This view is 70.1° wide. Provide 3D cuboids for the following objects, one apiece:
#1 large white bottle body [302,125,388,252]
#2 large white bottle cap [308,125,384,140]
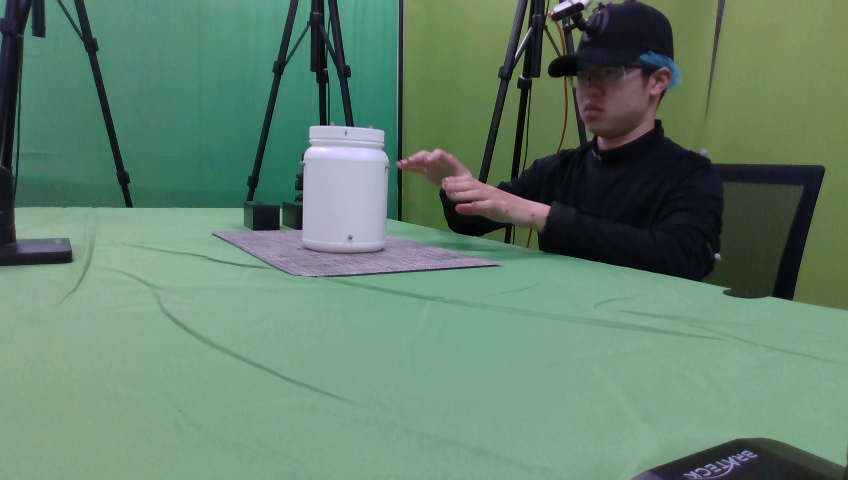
[{"bbox_3d":[-0.122,-0.080,0.937,0.131,0.184,0.130,2,7,0],"label":"large white bottle body"},{"bbox_3d":[-0.119,-0.163,0.927,0.115,0.018,0.115,2,6,0],"label":"large white bottle cap"}]
